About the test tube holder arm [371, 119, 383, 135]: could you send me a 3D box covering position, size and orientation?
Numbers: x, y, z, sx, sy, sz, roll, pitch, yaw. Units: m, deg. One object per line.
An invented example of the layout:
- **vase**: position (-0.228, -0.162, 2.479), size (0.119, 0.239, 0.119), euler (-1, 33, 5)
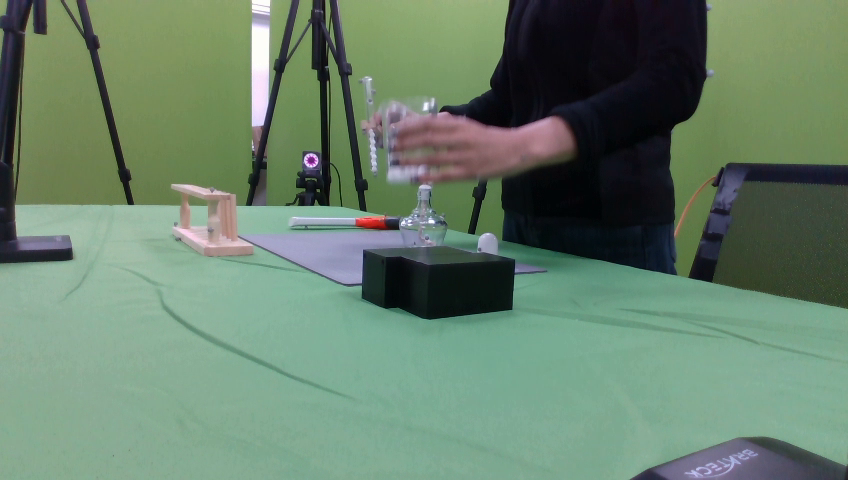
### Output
- **test tube holder arm**: position (-0.075, -0.181, 0.976), size (0.010, 0.015, 0.088), euler (3, 2, 2)

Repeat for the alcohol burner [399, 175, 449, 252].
- **alcohol burner**: position (0.000, -0.041, 0.937), size (0.078, 0.119, 0.078), euler (0, 8, 0)

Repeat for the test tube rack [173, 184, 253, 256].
- **test tube rack**: position (-0.328, -0.036, 0.927), size (0.067, 0.085, 0.241), euler (-2, 9, -32)

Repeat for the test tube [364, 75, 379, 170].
- **test tube**: position (-0.083, -0.185, 0.953), size (0.017, 0.150, 0.017), euler (-4, 1, 0)

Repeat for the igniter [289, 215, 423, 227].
- **igniter**: position (-0.133, -0.038, 1.232), size (0.278, 0.025, 0.057), euler (-1, -2, -25)

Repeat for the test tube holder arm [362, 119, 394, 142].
- **test tube holder arm**: position (-0.076, -0.183, 1.022), size (0.013, 0.015, 0.178), euler (4, 2, 9)

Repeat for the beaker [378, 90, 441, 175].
- **beaker**: position (-0.018, -0.132, 0.759), size (0.084, 0.100, 0.074), euler (-1, 6, 22)

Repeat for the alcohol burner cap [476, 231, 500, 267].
- **alcohol burner cap**: position (0.088, 0.012, 0.830), size (0.034, 0.048, 0.034), euler (2, 6, 0)
